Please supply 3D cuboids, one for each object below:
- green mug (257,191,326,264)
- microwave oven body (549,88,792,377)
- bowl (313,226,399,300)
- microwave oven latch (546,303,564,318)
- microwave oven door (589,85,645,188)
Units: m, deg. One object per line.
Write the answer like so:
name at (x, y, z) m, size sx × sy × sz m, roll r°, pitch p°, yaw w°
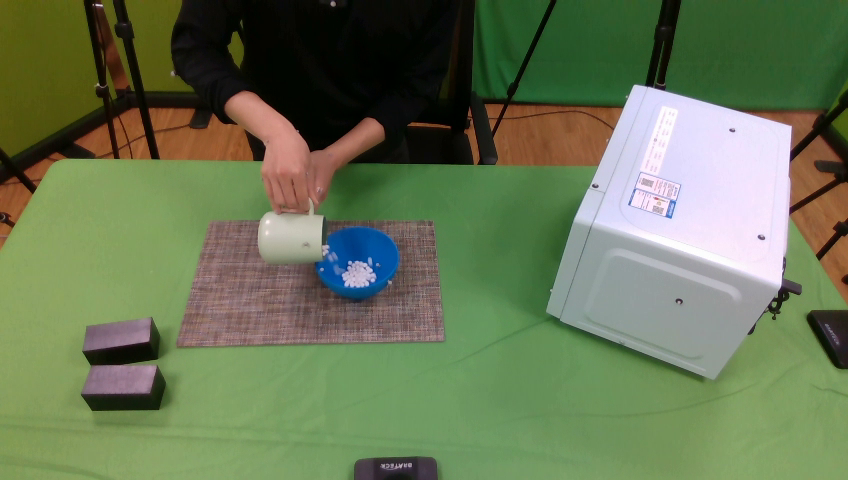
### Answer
green mug at (-0.224, -0.020, 1.026) m, size 0.105 × 0.125 × 0.092 m, roll 0°, pitch 17°, yaw -2°
microwave oven body at (0.456, -0.028, 1.088) m, size 0.325 × 0.261 × 0.440 m, roll 20°, pitch 47°, yaw 16°
bowl at (-0.121, 0.054, 1.091) m, size 0.151 × 0.077 × 0.150 m, roll 2°, pitch 46°, yaw -2°
microwave oven latch at (0.242, 0.102, 1.081) m, size 0.030 × 0.029 × 0.079 m, roll 21°, pitch 48°, yaw 17°
microwave oven door at (0.342, -0.107, 1.149) m, size 0.039 × 0.245 × 0.354 m, roll 20°, pitch 48°, yaw 15°
